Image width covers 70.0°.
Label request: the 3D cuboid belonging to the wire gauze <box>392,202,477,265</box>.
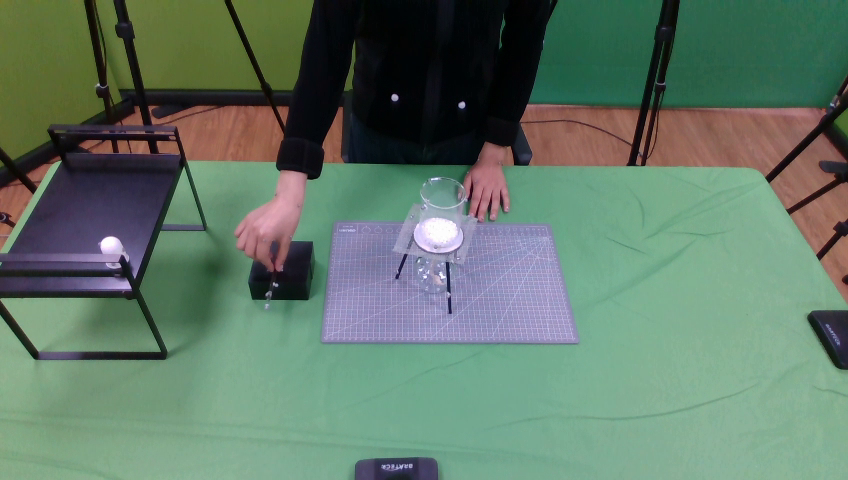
[{"bbox_3d":[0.021,-0.011,1.037,0.121,0.011,0.124,13,49,8],"label":"wire gauze"}]

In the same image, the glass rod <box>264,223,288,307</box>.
[{"bbox_3d":[-0.263,0.040,1.082,0.008,0.008,0.198,3,46,-1],"label":"glass rod"}]

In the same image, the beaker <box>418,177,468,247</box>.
[{"bbox_3d":[0.026,-0.045,1.004,0.074,0.101,0.083,-21,51,-22],"label":"beaker"}]

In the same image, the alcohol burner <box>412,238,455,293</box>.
[{"bbox_3d":[0.019,0.040,1.094,0.078,0.119,0.077,3,45,-3],"label":"alcohol burner"}]

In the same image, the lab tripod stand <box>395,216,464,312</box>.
[{"bbox_3d":[0.023,0.037,1.084,0.148,0.132,0.147,3,47,-3],"label":"lab tripod stand"}]

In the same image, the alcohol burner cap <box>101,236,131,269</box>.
[{"bbox_3d":[-0.452,0.016,0.883,0.034,0.048,0.033,2,47,-1],"label":"alcohol burner cap"}]
